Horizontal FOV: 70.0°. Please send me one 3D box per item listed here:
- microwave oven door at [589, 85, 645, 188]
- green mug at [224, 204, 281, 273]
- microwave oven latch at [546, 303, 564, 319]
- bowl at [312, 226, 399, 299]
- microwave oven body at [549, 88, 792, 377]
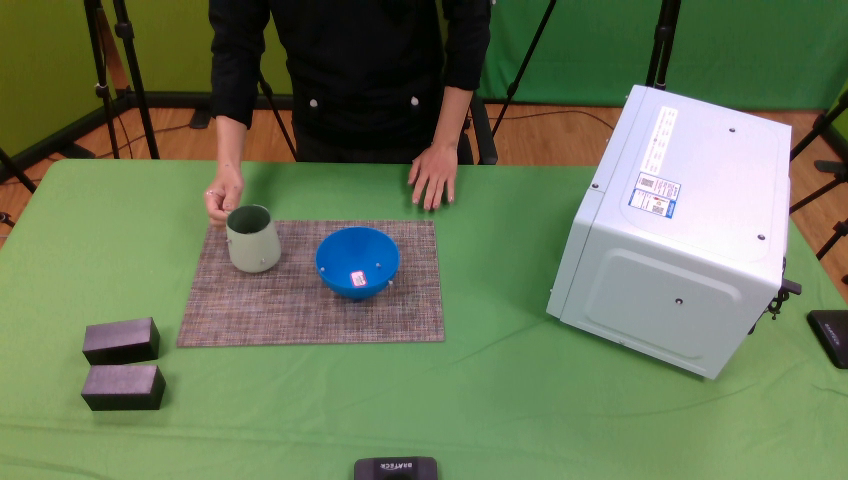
[{"bbox_3d":[0.342,-0.107,1.149,0.039,0.245,0.354,20,48,15],"label":"microwave oven door"},{"bbox_3d":[-0.327,-0.010,1.118,0.125,0.105,0.092,34,53,25],"label":"green mug"},{"bbox_3d":[0.242,0.102,1.081,0.030,0.029,0.079,21,48,17],"label":"microwave oven latch"},{"bbox_3d":[-0.120,0.054,1.091,0.151,0.077,0.150,2,46,-2],"label":"bowl"},{"bbox_3d":[0.456,-0.028,1.088,0.325,0.261,0.440,20,47,16],"label":"microwave oven body"}]
